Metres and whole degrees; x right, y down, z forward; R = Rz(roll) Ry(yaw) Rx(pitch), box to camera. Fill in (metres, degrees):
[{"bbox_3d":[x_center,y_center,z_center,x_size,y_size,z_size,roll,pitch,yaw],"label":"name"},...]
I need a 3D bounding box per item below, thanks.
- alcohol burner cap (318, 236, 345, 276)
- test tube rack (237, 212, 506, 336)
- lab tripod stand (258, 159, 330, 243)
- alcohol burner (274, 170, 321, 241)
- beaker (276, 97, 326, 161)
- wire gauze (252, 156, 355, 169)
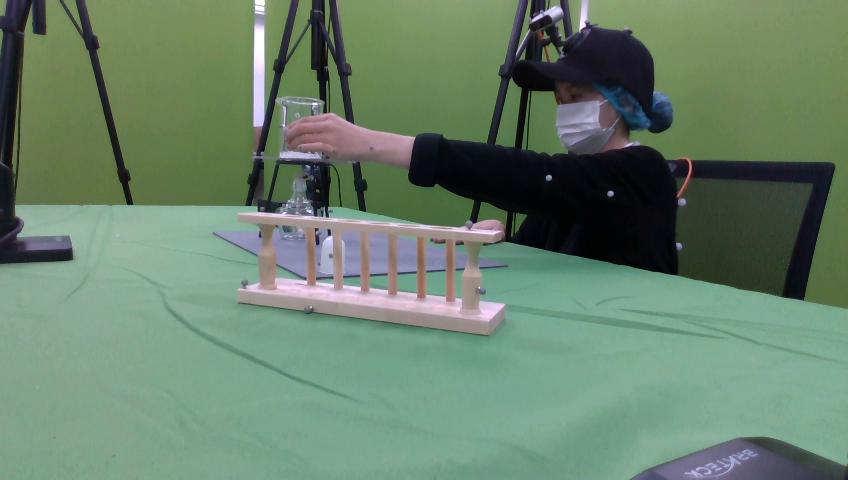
[{"bbox_3d":[-0.110,0.019,0.723,0.034,0.048,0.034,2,6,0],"label":"alcohol burner cap"},{"bbox_3d":[-0.049,0.024,0.552,0.242,0.085,0.067,5,8,18],"label":"test tube rack"},{"bbox_3d":[-0.202,-0.067,1.010,0.148,0.131,0.148,2,5,0],"label":"lab tripod stand"},{"bbox_3d":[-0.211,-0.058,1.015,0.078,0.119,0.078,4,6,0],"label":"alcohol burner"},{"bbox_3d":[-0.204,-0.179,0.988,0.084,0.100,0.073,-2,8,-40],"label":"beaker"},{"bbox_3d":[-0.197,-0.131,1.000,0.121,0.011,0.125,7,4,21],"label":"wire gauze"}]
